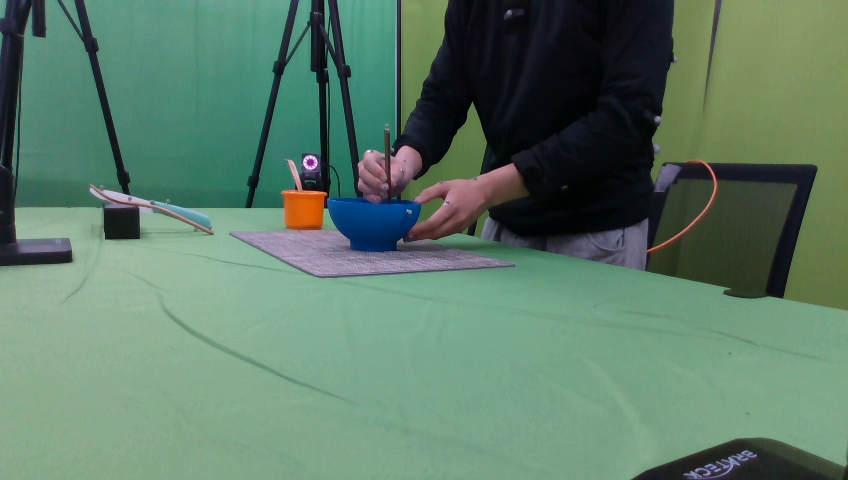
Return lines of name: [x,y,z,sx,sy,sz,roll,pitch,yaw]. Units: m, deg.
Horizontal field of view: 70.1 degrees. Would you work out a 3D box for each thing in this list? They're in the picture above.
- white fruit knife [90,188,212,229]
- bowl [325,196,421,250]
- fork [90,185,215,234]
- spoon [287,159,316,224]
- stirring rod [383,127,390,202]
white fruit knife: [-0.478,-0.058,1.073,0.208,0.027,0.016,17,-4,-30]
bowl: [-0.081,-0.027,0.957,0.151,0.077,0.151,2,7,0]
fork: [-0.452,-0.049,1.018,0.208,0.018,0.028,21,-7,-33]
spoon: [-0.261,-0.104,1.263,0.042,0.193,0.021,0,-37,-29]
stirring rod: [-0.056,-0.086,0.912,0.006,0.176,0.014,-15,33,-26]
